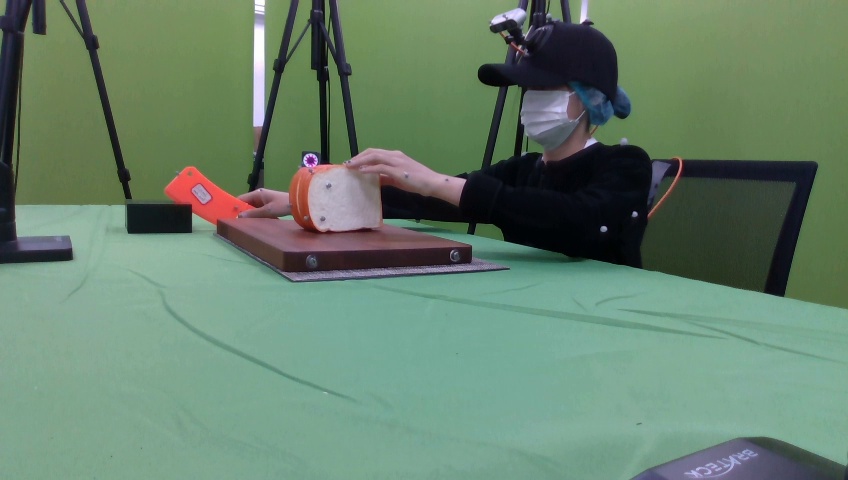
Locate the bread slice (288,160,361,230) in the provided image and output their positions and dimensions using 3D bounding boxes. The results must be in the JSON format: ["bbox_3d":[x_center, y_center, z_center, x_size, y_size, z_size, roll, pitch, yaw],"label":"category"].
[{"bbox_3d":[-0.154,-0.070,0.961,0.132,0.105,0.019,-10,13,-36],"label":"bread slice"}]

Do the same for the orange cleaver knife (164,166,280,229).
[{"bbox_3d":[-0.371,-0.061,1.123,0.212,0.077,0.012,31,-12,-29],"label":"orange cleaver knife"}]

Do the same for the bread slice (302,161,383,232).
[{"bbox_3d":[-0.122,-0.061,0.922,0.135,0.107,0.018,-13,12,-38],"label":"bread slice"}]
